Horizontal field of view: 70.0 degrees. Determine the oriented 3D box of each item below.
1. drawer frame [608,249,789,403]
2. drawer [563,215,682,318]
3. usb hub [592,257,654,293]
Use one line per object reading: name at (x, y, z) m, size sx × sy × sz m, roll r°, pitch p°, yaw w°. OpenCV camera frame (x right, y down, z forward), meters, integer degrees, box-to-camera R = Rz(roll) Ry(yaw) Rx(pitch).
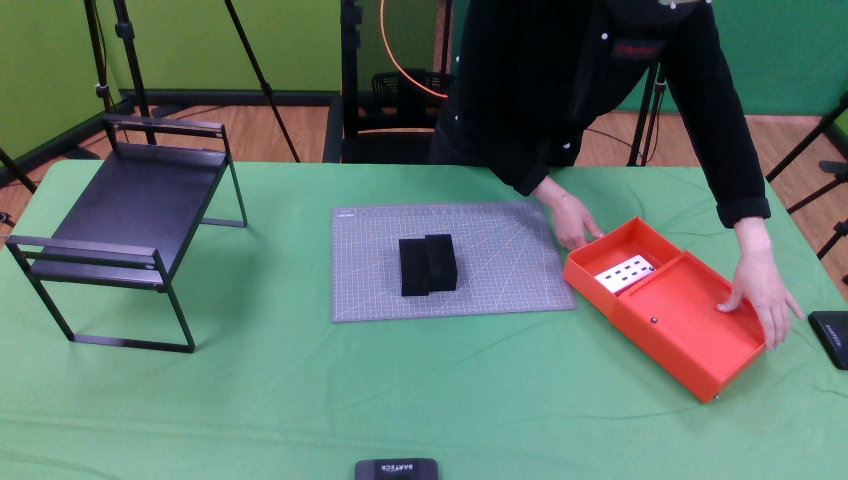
drawer frame at (0.470, 0.139, 1.051) m, size 0.202 × 0.083 × 0.212 m, roll -28°, pitch 55°, yaw -27°
drawer at (0.400, 0.071, 1.116) m, size 0.194 × 0.073 × 0.210 m, roll -25°, pitch 53°, yaw -26°
usb hub at (0.375, 0.067, 1.137) m, size 0.125 × 0.025 × 0.049 m, roll -14°, pitch 39°, yaw -28°
